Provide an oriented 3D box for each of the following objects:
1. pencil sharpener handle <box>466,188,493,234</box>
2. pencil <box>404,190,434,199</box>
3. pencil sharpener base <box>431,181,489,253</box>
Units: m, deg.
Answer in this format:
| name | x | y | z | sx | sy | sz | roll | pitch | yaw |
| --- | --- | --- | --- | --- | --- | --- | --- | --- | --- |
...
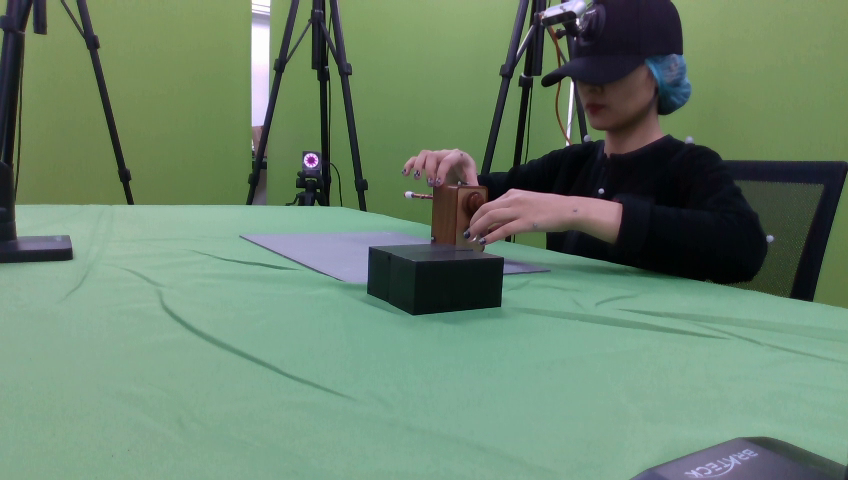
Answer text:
| name | x | y | z | sx | sy | sz | roll | pitch | yaw |
| --- | --- | --- | --- | --- | --- | --- | --- | --- | --- |
| pencil sharpener handle | 0.087 | -0.042 | 0.901 | 0.036 | 0.068 | 0.030 | -16 | 16 | -29 |
| pencil | 0.017 | -0.072 | 1.009 | 0.012 | 0.012 | 0.193 | -2 | 9 | -31 |
| pencil sharpener base | 0.057 | -0.036 | 0.943 | 0.062 | 0.107 | 0.076 | -2 | 9 | -31 |
